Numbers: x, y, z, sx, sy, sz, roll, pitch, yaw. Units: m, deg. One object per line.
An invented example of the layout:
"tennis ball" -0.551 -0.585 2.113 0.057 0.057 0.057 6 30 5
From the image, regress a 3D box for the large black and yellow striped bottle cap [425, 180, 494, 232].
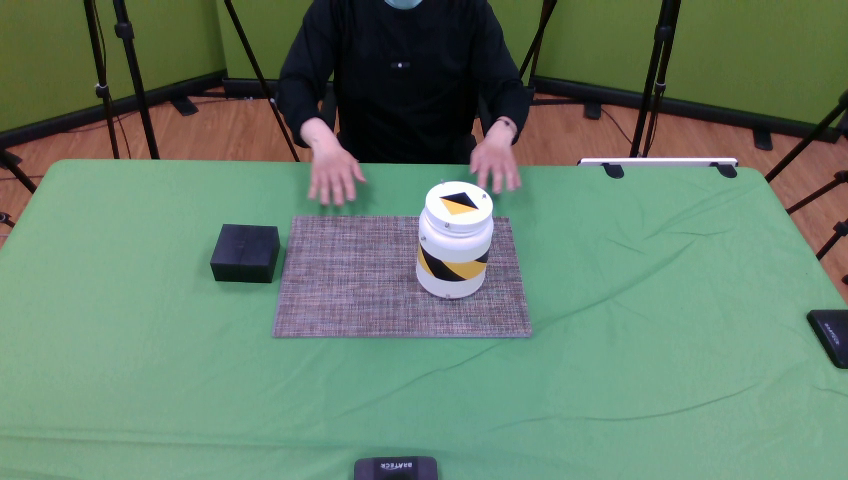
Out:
"large black and yellow striped bottle cap" 0.060 -0.059 1.017 0.115 0.019 0.114 2 44 -2

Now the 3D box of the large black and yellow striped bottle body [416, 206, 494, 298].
"large black and yellow striped bottle body" 0.054 0.001 1.080 0.131 0.185 0.130 2 46 -2
